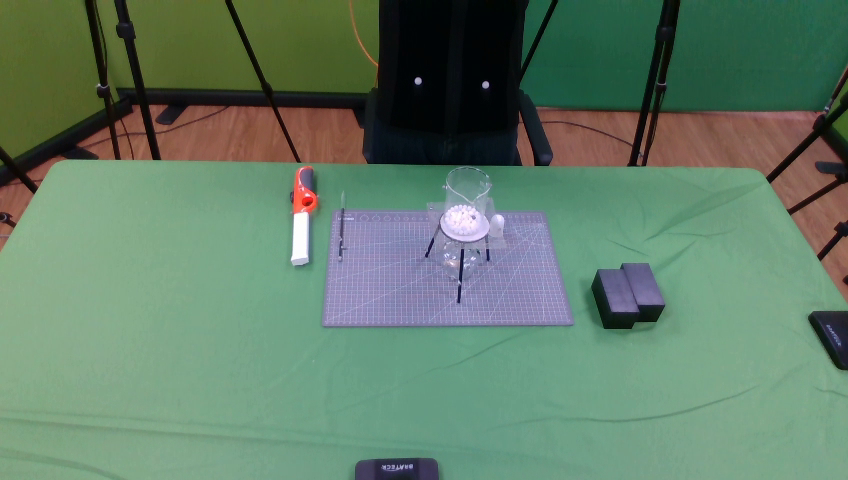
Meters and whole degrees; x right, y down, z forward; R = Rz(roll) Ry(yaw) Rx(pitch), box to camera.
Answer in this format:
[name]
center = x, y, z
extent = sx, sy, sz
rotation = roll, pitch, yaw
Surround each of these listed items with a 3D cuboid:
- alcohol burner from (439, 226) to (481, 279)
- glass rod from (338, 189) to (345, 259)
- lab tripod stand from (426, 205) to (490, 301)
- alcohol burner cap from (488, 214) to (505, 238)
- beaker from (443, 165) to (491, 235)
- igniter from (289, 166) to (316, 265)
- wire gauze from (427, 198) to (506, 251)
[alcohol burner]
center = 0.068, 0.017, 1.119
extent = 0.078, 0.119, 0.077
rotation = 3, 47, -3
[glass rod]
center = -0.166, -0.036, 1.227
extent = 0.008, 0.008, 0.198
rotation = -1, 46, -4
[lab tripod stand]
center = 0.069, 0.016, 1.106
extent = 0.148, 0.132, 0.147
rotation = 3, 47, -3
[alcohol burner cap]
center = 0.147, -0.031, 1.221
extent = 0.034, 0.048, 0.033
rotation = 2, 46, -1
[beaker]
center = 0.070, -0.062, 1.023
extent = 0.074, 0.101, 0.083
rotation = -2, 48, -6
[igniter]
center = -0.248, -0.058, 1.233
extent = 0.057, 0.025, 0.274
rotation = -9, 47, 1
[wire gauze]
center = 0.072, -0.028, 1.057
extent = 0.125, 0.011, 0.120
rotation = -1, 49, -8
